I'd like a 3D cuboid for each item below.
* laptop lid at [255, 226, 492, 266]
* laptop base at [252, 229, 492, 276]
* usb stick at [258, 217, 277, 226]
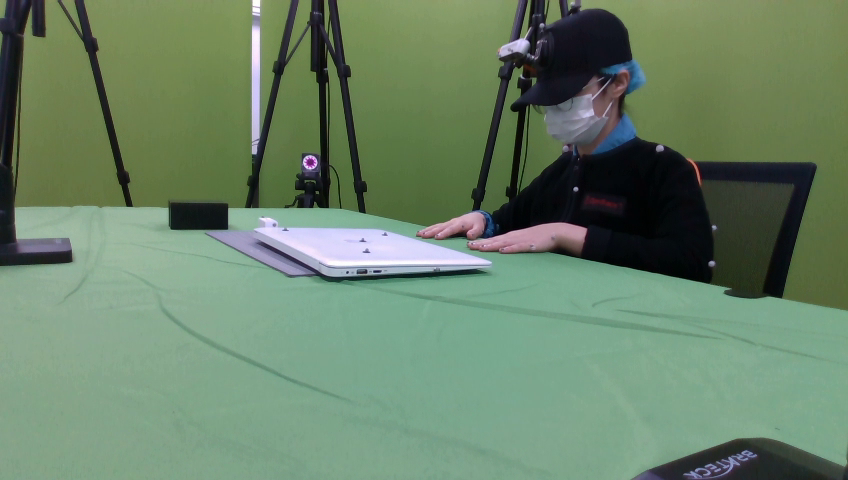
[{"bbox_3d":[-0.092,0.003,0.888,0.243,0.013,0.355,1,8,-28],"label":"laptop lid"},{"bbox_3d":[-0.094,0.015,0.889,0.237,0.023,0.352,2,7,-30],"label":"laptop base"},{"bbox_3d":[-0.261,-0.022,1.016,0.021,0.027,0.059,0,13,-30],"label":"usb stick"}]
